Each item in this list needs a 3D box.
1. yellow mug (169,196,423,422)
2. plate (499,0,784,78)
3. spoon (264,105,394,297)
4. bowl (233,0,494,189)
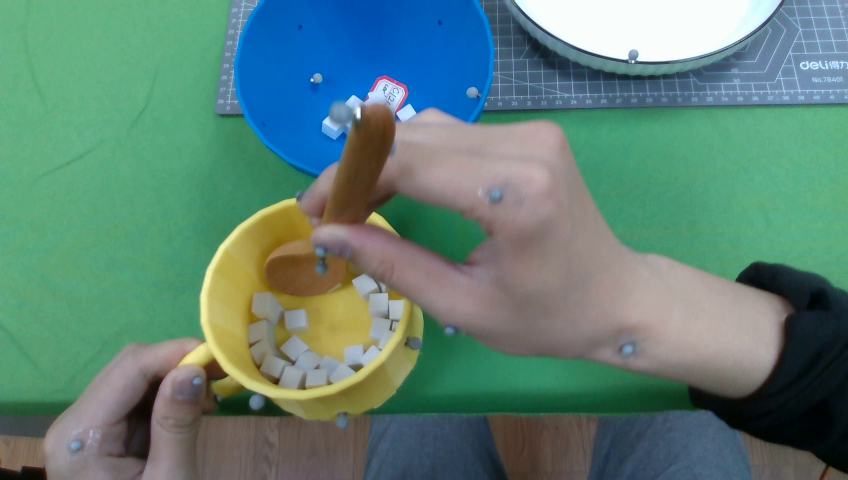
[{"bbox_3d":[-0.065,0.045,0.304,0.131,0.064,0.099,-32,68,-10],"label":"yellow mug"},{"bbox_3d":[0.147,-0.199,0.429,0.209,0.038,0.207,-1,70,3],"label":"plate"},{"bbox_3d":[-0.038,-0.002,0.243,0.042,0.194,0.021,6,74,-16],"label":"spoon"},{"bbox_3d":[-0.032,-0.092,0.381,0.151,0.077,0.150,-1,74,4],"label":"bowl"}]
